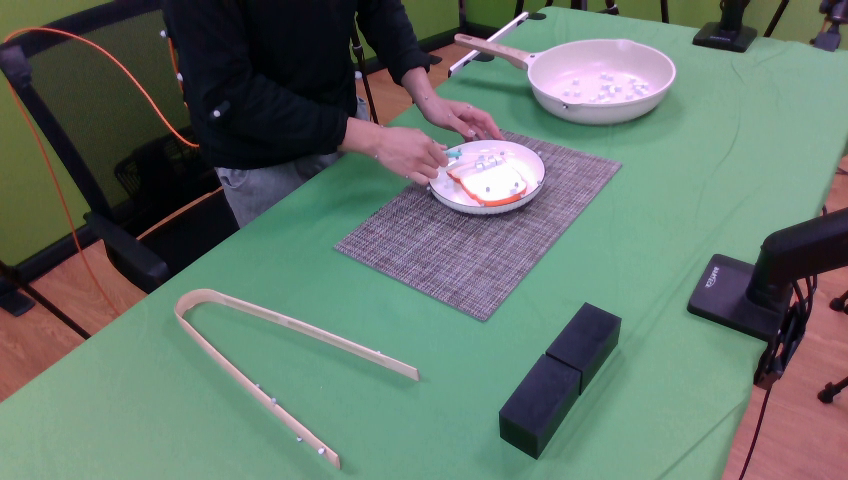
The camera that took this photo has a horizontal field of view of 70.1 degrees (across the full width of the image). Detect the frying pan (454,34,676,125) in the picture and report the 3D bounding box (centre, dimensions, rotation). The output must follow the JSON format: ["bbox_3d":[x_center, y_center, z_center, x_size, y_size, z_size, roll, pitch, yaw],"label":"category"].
[{"bbox_3d":[0.277,-0.370,1.295,0.485,0.103,0.307,26,49,22],"label":"frying pan"}]

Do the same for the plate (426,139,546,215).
[{"bbox_3d":[0.109,-0.107,1.059,0.207,0.039,0.206,-4,41,4],"label":"plate"}]

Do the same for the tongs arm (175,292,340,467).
[{"bbox_3d":[-0.225,0.168,0.793,0.381,0.026,0.051,25,49,33],"label":"tongs arm"}]

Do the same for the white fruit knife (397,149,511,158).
[{"bbox_3d":[0.056,-0.152,1.061,0.208,0.016,0.027,-3,1,-17],"label":"white fruit knife"}]

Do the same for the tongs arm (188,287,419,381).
[{"bbox_3d":[-0.177,0.127,0.842,0.385,0.028,0.028,15,48,24],"label":"tongs arm"}]

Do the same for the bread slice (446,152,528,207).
[{"bbox_3d":[0.117,-0.104,1.057,0.107,0.018,0.133,-24,42,-18],"label":"bread slice"}]
